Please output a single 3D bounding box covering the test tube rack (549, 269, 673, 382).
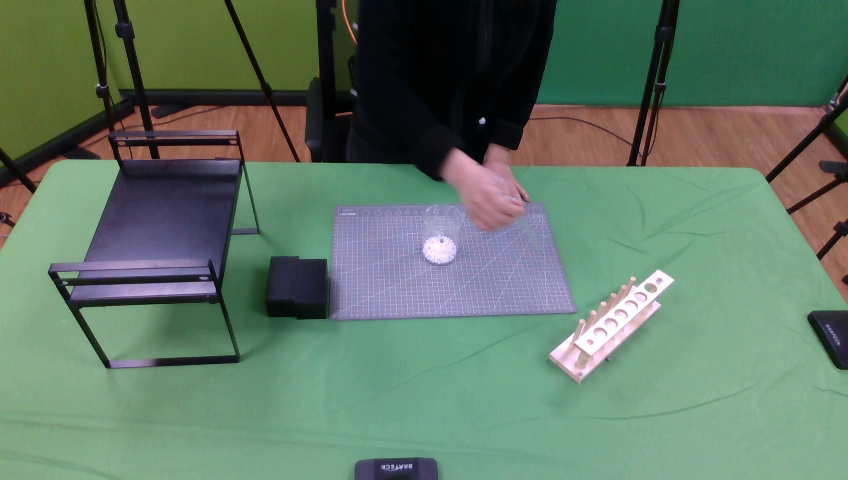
[{"bbox_3d":[0.325,0.134,1.047,0.242,0.085,0.066,-32,56,-30],"label":"test tube rack"}]

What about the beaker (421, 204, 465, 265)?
[{"bbox_3d":[0.034,-0.008,1.151,0.084,0.101,0.073,-10,48,-13],"label":"beaker"}]

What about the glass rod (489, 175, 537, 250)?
[{"bbox_3d":[0.139,-0.038,0.931,0.008,0.201,0.008,-17,50,21],"label":"glass rod"}]
